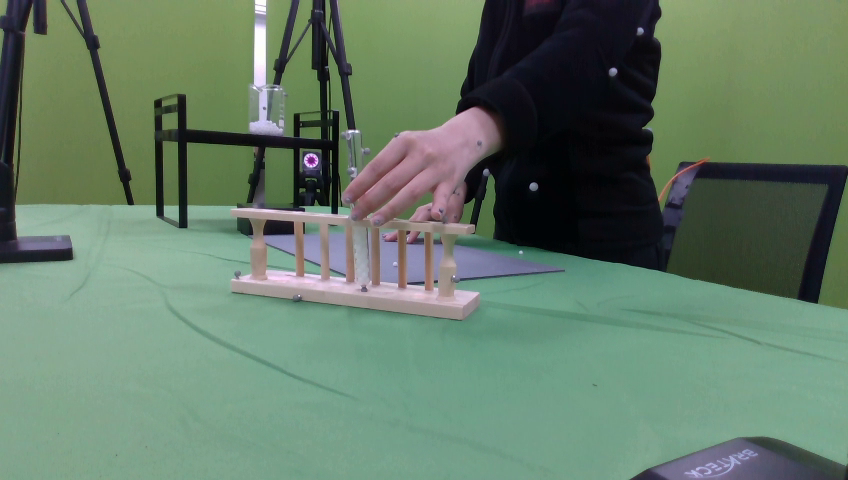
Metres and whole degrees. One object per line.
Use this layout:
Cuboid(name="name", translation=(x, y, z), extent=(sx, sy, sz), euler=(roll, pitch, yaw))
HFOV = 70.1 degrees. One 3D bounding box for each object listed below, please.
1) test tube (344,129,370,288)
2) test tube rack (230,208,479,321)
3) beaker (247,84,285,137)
Cuboid(name="test tube", translation=(-0.063, -0.029, 0.571), extent=(0.017, 0.150, 0.017), euler=(-3, 9, 1))
Cuboid(name="test tube rack", translation=(-0.069, 0.018, 0.598), extent=(0.242, 0.085, 0.067), euler=(5, 7, 18))
Cuboid(name="beaker", translation=(-0.321, -0.261, 1.225), extent=(0.074, 0.100, 0.084), euler=(3, 8, 3))
